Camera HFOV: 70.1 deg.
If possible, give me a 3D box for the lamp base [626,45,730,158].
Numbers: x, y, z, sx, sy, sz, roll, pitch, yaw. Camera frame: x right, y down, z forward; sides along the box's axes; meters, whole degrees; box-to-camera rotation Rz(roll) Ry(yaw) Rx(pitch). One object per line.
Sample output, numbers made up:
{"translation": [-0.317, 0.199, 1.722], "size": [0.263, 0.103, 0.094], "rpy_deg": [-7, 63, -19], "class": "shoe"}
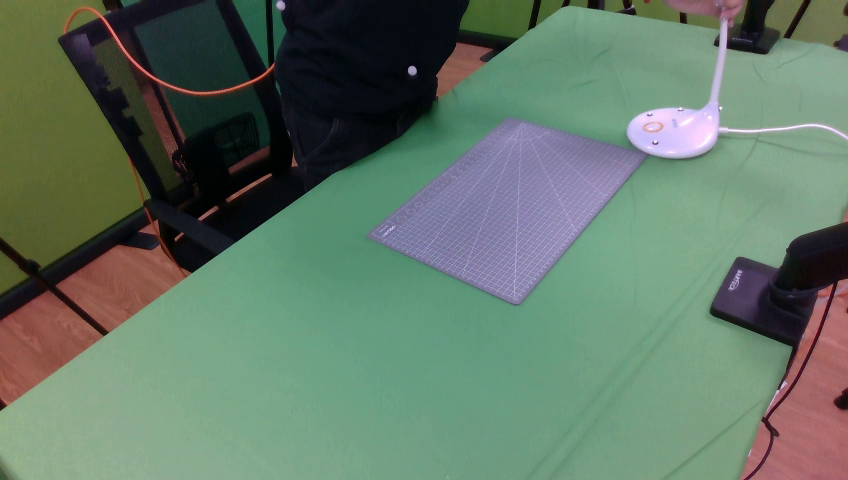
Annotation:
{"translation": [0.468, -0.262, 1.085], "size": [0.179, 0.181, 0.159], "rpy_deg": [-4, 41, 0], "class": "lamp base"}
